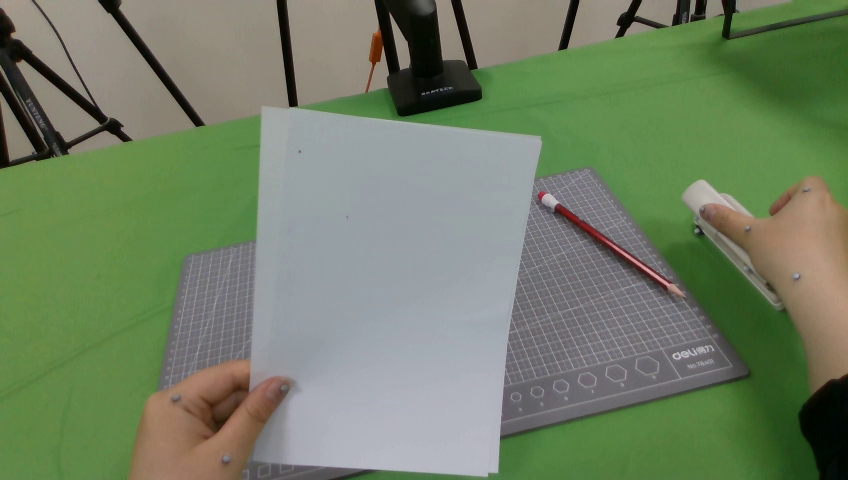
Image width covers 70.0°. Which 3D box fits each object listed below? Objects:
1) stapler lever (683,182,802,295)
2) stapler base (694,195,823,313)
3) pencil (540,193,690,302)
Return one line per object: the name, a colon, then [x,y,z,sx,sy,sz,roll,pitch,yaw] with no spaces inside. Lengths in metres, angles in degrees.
stapler lever: [0.260,-0.006,0.505,0.027,0.040,0.116,-47,35,21]
stapler base: [0.277,0.004,0.520,0.041,0.024,0.129,-48,36,21]
pencil: [0.171,0.002,0.564,0.012,0.012,0.192,-25,42,-18]
